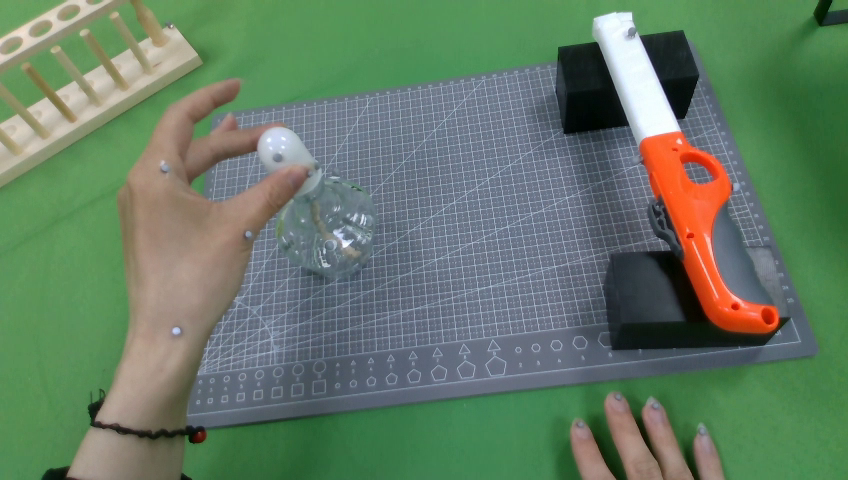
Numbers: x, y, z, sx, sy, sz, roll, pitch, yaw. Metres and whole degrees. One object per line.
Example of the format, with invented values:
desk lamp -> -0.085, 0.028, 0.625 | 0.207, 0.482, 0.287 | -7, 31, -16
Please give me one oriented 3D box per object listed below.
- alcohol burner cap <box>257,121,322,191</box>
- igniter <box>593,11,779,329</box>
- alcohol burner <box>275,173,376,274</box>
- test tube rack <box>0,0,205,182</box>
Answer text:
alcohol burner cap -> -0.088, -0.056, 0.388 | 0.034, 0.048, 0.033 | -4, 66, 8
igniter -> 0.170, -0.063, 0.421 | 0.057, 0.025, 0.274 | -11, 58, 4
alcohol burner -> -0.077, -0.025, 0.444 | 0.078, 0.120, 0.077 | -4, 58, 8
test tube rack -> -0.346, -0.158, 0.579 | 0.242, 0.086, 0.066 | -36, 62, -11
